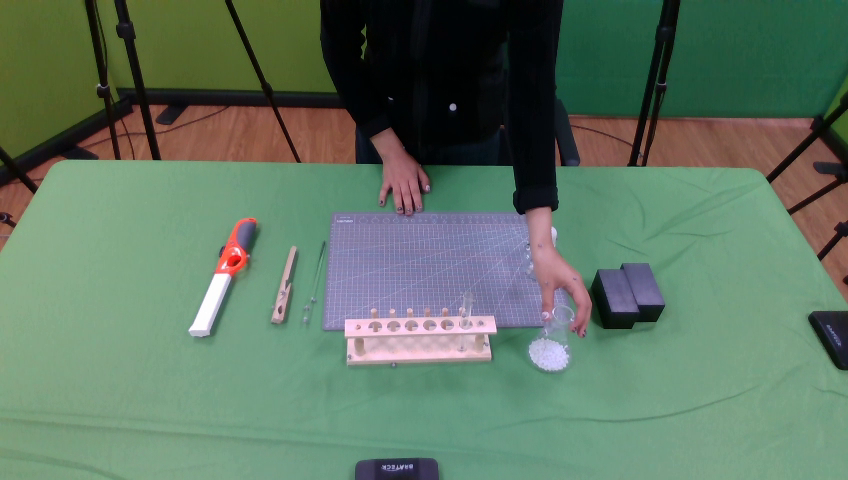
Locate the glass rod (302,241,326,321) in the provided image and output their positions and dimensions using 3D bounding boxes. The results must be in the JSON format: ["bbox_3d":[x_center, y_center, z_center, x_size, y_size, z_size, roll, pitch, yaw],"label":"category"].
[{"bbox_3d":[-0.203,0.071,1.124,0.008,0.008,0.198,5,44,1],"label":"glass rod"}]

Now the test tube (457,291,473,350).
[{"bbox_3d":[0.065,0.132,0.964,0.017,0.151,0.017,1,48,-1],"label":"test tube"}]

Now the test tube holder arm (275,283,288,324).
[{"bbox_3d":[-0.254,0.110,1.077,0.010,0.015,0.087,30,37,-28],"label":"test tube holder arm"}]

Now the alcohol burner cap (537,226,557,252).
[{"bbox_3d":[0.226,-0.004,1.104,0.034,0.048,0.033,0,50,1],"label":"alcohol burner cap"}]

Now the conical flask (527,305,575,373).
[{"bbox_3d":[0.215,0.157,0.996,0.075,0.122,0.075,2,46,-2],"label":"conical flask"}]

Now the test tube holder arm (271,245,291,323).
[{"bbox_3d":[-0.260,0.076,1.106,0.013,0.015,0.177,29,38,-29],"label":"test tube holder arm"}]

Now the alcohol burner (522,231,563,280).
[{"bbox_3d":[0.224,0.020,1.131,0.078,0.119,0.077,4,46,-4],"label":"alcohol burner"}]

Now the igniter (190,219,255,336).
[{"bbox_3d":[-0.365,0.058,1.110,0.057,0.025,0.275,-1,45,8],"label":"igniter"}]

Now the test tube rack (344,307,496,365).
[{"bbox_3d":[-0.009,0.154,1.007,0.242,0.085,0.066,-1,46,-5],"label":"test tube rack"}]
